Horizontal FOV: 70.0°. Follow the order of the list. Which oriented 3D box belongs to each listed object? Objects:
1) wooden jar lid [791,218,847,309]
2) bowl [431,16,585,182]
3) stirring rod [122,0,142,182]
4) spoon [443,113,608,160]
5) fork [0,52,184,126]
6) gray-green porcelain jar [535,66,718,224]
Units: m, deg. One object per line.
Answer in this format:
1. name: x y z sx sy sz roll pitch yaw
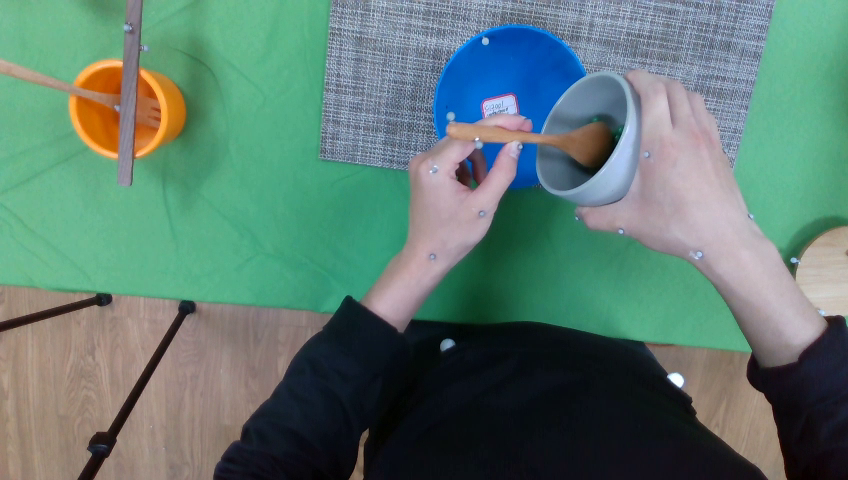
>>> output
1. wooden jar lid: 0.473 0.026 0.695 0.108 0.020 0.109 0 106 -1
2. bowl: 0.081 -0.138 0.602 0.151 0.076 0.152 0 106 -1
3. stirring rod: -0.267 -0.140 0.554 0.014 0.006 0.177 8 105 -3
4. spoon: 0.090 -0.088 0.496 0.195 0.021 0.042 -3 112 -34
5. fork: -0.322 -0.144 0.554 0.209 0.018 0.028 12 112 -50
6. gray-green porcelain jar: 0.177 -0.076 0.522 0.127 0.105 0.106 17 105 -28
